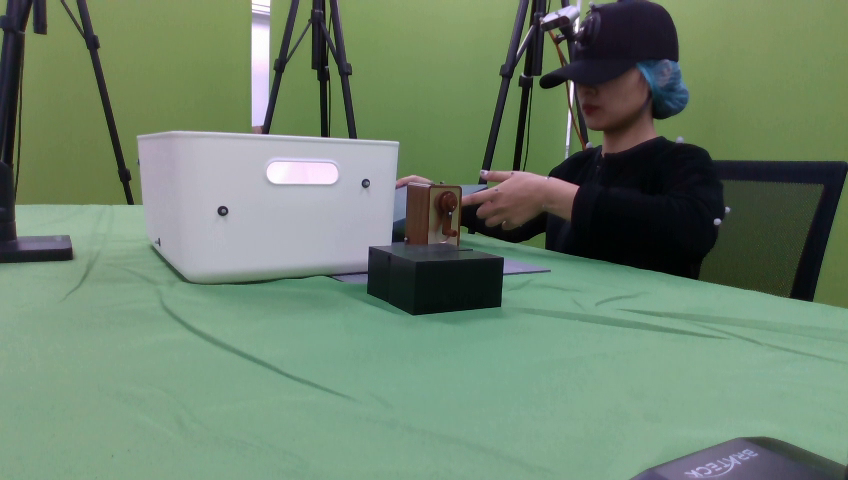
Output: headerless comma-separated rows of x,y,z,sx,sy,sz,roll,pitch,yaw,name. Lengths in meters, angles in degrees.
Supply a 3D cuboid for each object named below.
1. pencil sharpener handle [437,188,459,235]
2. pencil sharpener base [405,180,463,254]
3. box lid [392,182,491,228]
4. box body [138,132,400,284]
0.041,-0.041,0.877,0.036,0.067,0.030,1,7,-30,pencil sharpener handle
0.016,-0.035,0.922,0.061,0.107,0.076,-2,9,-30,pencil sharpener base
-0.064,-0.068,1.188,0.264,0.015,0.369,-21,15,-25,box lid
-0.223,-0.056,0.807,0.255,0.160,0.362,-3,9,-31,box body
